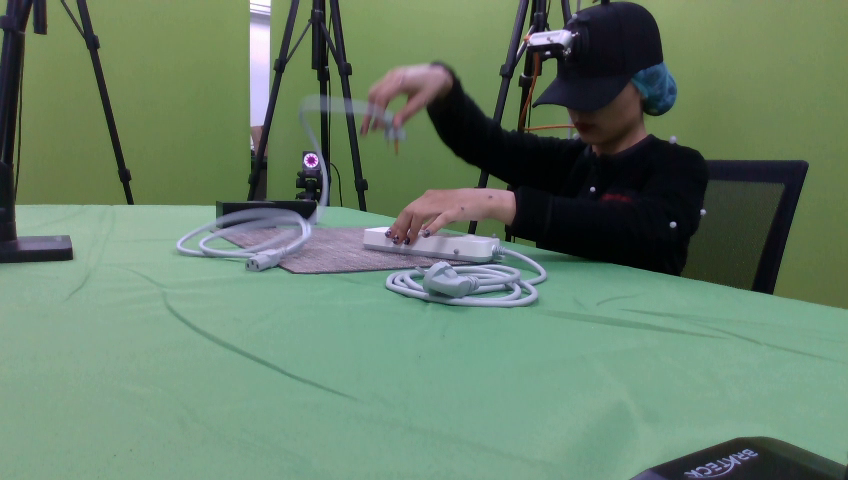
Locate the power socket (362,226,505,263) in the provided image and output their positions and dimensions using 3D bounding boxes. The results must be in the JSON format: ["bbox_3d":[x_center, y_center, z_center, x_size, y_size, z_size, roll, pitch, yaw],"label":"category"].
[{"bbox_3d":[0.008,0.004,0.910,0.226,0.032,0.072,7,9,28],"label":"power socket"}]

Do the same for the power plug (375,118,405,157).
[{"bbox_3d":[-0.058,-0.153,0.908,0.035,0.052,0.073,-2,2,39],"label":"power plug"}]
